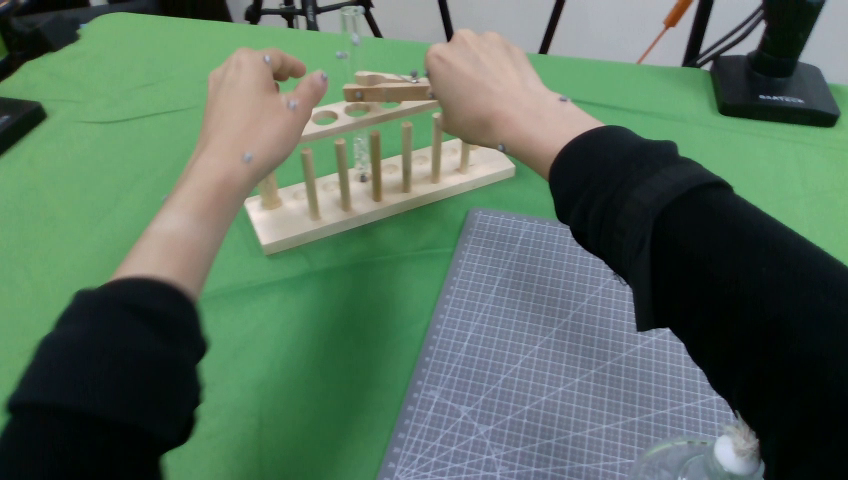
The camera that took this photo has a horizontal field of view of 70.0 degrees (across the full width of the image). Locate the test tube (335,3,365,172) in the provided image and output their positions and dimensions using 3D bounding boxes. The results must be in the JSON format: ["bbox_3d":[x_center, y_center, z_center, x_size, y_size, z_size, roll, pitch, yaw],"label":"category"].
[{"bbox_3d":[-0.061,-0.120,0.507,0.017,0.151,0.017,1,42,0],"label":"test tube"}]

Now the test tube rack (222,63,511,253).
[{"bbox_3d":[-0.040,-0.077,0.533,0.243,0.086,0.066,-19,47,-18],"label":"test tube rack"}]

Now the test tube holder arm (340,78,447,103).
[{"bbox_3d":[-0.024,-0.120,0.483,0.087,0.015,0.010,-1,47,14],"label":"test tube holder arm"}]

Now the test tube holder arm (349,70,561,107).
[{"bbox_3d":[0.018,-0.119,0.471,0.177,0.015,0.013,11,52,24],"label":"test tube holder arm"}]

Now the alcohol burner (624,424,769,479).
[{"bbox_3d":[0.144,0.124,0.305,0.078,0.120,0.077,-1,46,2],"label":"alcohol burner"}]
